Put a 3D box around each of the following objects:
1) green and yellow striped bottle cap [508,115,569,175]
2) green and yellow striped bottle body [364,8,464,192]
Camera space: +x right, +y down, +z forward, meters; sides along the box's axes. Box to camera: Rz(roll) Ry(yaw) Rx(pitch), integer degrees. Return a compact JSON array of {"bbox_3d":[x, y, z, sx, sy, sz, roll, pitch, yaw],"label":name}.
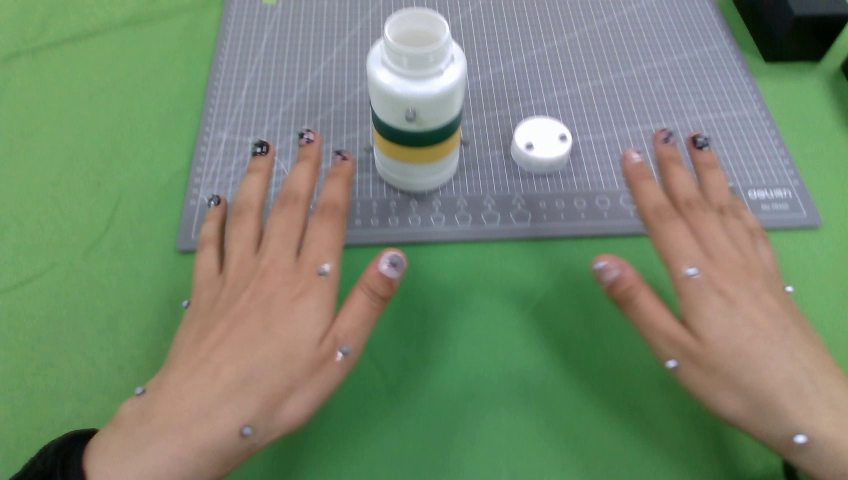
[{"bbox_3d":[0.086,-0.072,0.455,0.045,0.020,0.045,1,59,-1],"label":"green and yellow striped bottle cap"},{"bbox_3d":[-0.007,-0.091,0.402,0.063,0.120,0.062,0,57,0],"label":"green and yellow striped bottle body"}]
